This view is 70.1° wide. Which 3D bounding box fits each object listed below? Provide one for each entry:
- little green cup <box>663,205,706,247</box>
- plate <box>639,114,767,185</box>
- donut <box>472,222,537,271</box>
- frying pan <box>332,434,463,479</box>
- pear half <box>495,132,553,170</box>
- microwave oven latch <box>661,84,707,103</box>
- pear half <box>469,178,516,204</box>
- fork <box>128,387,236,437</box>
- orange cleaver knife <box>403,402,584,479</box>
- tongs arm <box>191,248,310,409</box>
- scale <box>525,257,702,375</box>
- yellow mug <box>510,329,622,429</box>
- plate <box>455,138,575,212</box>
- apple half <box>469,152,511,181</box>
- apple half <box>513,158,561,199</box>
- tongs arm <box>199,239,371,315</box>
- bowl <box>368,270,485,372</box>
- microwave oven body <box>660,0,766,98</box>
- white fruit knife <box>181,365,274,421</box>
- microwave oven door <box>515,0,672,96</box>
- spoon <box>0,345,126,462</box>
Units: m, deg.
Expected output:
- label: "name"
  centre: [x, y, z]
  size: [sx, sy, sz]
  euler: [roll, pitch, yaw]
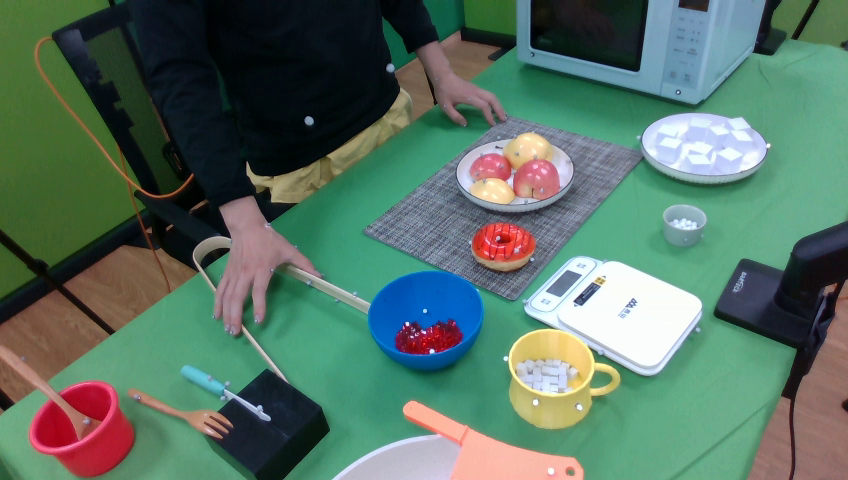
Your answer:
- label: "little green cup"
  centre: [0.396, -0.020, 0.926]
  size: [0.061, 0.039, 0.061]
  euler: [-4, 40, 4]
- label: "plate"
  centre: [0.489, -0.157, 1.074]
  size: [0.207, 0.039, 0.206]
  euler: [-4, 40, 4]
- label: "donut"
  centre: [0.123, 0.008, 0.923]
  size: [0.099, 0.048, 0.098]
  euler: [-3, 38, 3]
- label: "frying pan"
  centre: [-0.089, 0.306, 0.564]
  size: [0.487, 0.103, 0.306]
  euler: [10, 41, 7]
- label: "pear half"
  centre: [0.175, -0.168, 1.094]
  size: [0.109, 0.056, 0.076]
  euler: [15, 54, 30]
- label: "microwave oven latch"
  centre: [0.517, -0.296, 1.204]
  size: [0.078, 0.029, 0.030]
  euler: [27, 52, 35]
- label: "pear half"
  centre: [0.115, -0.090, 1.035]
  size: [0.087, 0.031, 0.071]
  euler: [27, 37, 31]
- label: "fork"
  centre: [-0.305, 0.207, 0.744]
  size: [0.206, 0.019, 0.028]
  euler: [3, 40, 36]
- label: "orange cleaver knife"
  centre: [0.062, 0.222, 0.609]
  size: [0.210, 0.012, 0.077]
  euler: [15, 48, 25]
- label: "tongs arm"
  centre: [-0.263, 0.116, 0.878]
  size: [0.028, 0.028, 0.384]
  euler: [-37, 48, -18]
- label: "scale"
  centre: [0.254, 0.091, 0.821]
  size: [0.199, 0.032, 0.149]
  euler: [28, 51, 35]
- label: "yellow mug"
  centre: [0.168, 0.164, 0.721]
  size: [0.130, 0.064, 0.099]
  euler: [0, 40, 8]
- label: "plate"
  centre: [0.159, -0.111, 1.063]
  size: [0.209, 0.038, 0.208]
  euler: [-4, 40, 4]
- label: "apple half"
  centre: [0.120, -0.139, 1.088]
  size: [0.081, 0.033, 0.081]
  euler: [1, 45, 0]
- label: "apple half"
  centre: [0.193, -0.111, 1.031]
  size: [0.080, 0.053, 0.075]
  euler: [12, 41, 26]
- label: "tongs arm"
  centre: [-0.205, 0.066, 0.919]
  size: [0.382, 0.027, 0.051]
  euler: [22, 54, 31]
- label: "bowl"
  centre: [0.007, 0.119, 0.791]
  size: [0.151, 0.077, 0.150]
  euler: [-5, 40, 4]
- label: "microwave oven body"
  centre: [0.472, -0.513, 1.317]
  size: [0.438, 0.261, 0.327]
  euler: [26, 51, 34]
- label: "white fruit knife"
  centre: [-0.245, 0.187, 0.747]
  size: [0.205, 0.027, 0.016]
  euler: [9, 41, 40]
- label: "microwave oven door"
  centre: [0.343, -0.454, 1.259]
  size: [0.353, 0.245, 0.039]
  euler: [26, 51, 33]
- label: "spoon"
  centre: [-0.434, 0.192, 0.720]
  size: [0.194, 0.021, 0.042]
  euler: [47, 53, -7]
